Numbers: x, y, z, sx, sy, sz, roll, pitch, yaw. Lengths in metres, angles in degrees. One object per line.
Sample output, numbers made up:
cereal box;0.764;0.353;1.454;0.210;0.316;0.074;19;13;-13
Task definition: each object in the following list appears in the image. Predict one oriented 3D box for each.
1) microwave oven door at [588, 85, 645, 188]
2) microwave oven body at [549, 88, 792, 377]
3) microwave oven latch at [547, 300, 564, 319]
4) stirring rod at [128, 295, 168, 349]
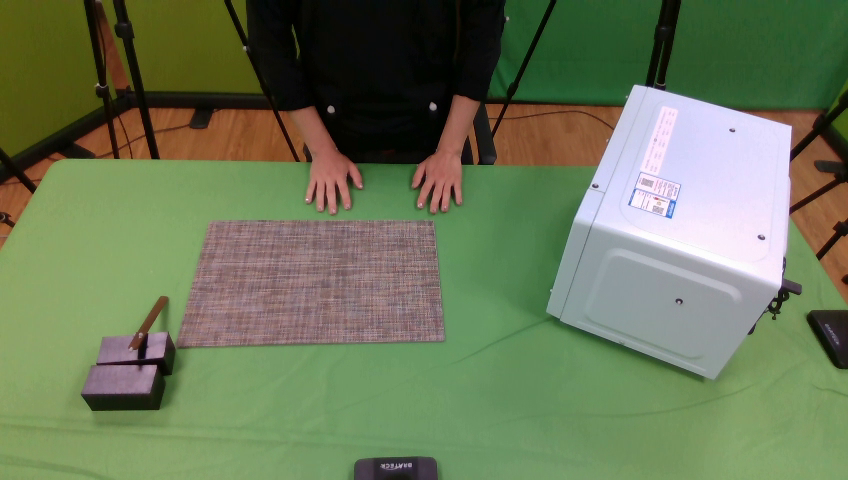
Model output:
microwave oven door;0.342;-0.107;1.149;0.039;0.245;0.354;20;48;15
microwave oven body;0.456;-0.028;1.088;0.325;0.261;0.440;20;47;16
microwave oven latch;0.242;0.102;1.081;0.030;0.029;0.079;21;48;17
stirring rod;-0.451;0.131;0.996;0.014;0.006;0.175;9;20;-10
